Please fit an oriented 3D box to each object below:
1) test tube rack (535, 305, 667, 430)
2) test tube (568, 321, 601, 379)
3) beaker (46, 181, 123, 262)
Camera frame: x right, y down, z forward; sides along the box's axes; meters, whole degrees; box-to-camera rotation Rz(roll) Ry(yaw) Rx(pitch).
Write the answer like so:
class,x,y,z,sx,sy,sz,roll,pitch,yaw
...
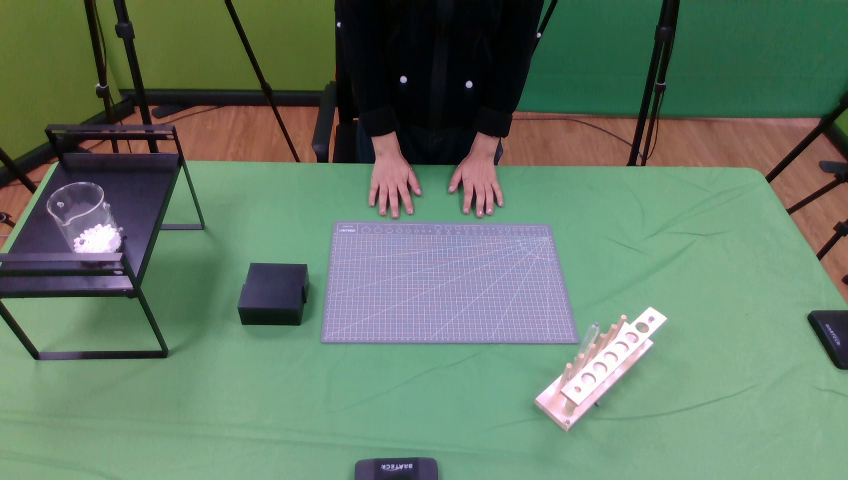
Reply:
class,x,y,z,sx,sy,sz,roll,pitch,yaw
test tube rack,0.290,0.193,0.984,0.242,0.085,0.066,-32,56,-30
test tube,0.247,0.173,0.938,0.017,0.151,0.017,2,47,-2
beaker,-0.488,-0.021,0.877,0.074,0.101,0.083,3,47,0
